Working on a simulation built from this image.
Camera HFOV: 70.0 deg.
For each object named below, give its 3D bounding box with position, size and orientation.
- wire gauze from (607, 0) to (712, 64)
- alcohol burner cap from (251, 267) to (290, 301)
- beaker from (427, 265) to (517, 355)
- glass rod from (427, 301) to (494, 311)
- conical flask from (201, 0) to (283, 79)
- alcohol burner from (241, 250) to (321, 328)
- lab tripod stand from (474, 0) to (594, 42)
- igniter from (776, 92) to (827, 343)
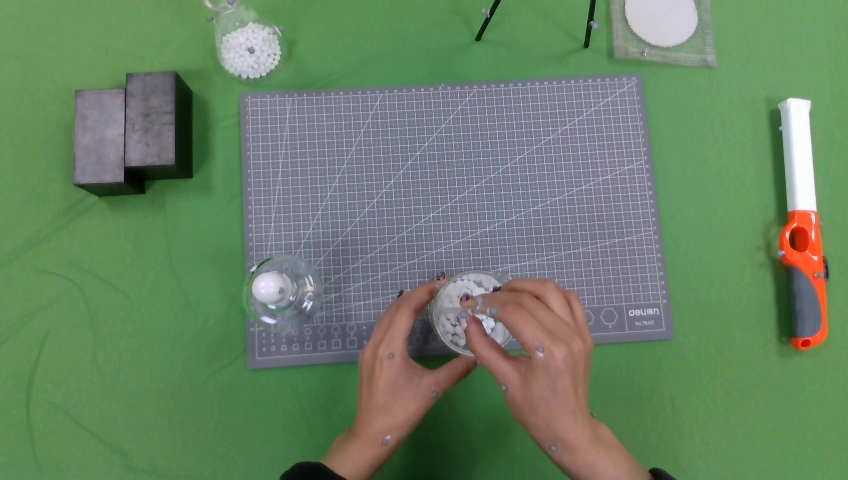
[{"bbox_3d":[0.273,-0.267,0.702,0.125,0.011,0.121,2,82,-4],"label":"wire gauze"},{"bbox_3d":[-0.140,0.039,0.548,0.034,0.048,0.034,1,85,-5],"label":"alcohol burner cap"},{"bbox_3d":[0.042,0.062,0.566,0.074,0.100,0.084,42,82,1],"label":"beaker"},{"bbox_3d":[0.025,0.054,0.505,0.008,0.199,0.008,1,84,-11],"label":"glass rod"},{"bbox_3d":[-0.192,-0.222,0.618,0.075,0.122,0.075,0,81,-2],"label":"conical flask"},{"bbox_3d":[-0.142,0.045,0.583,0.078,0.119,0.077,0,81,0],"label":"alcohol burner"},{"bbox_3d":[0.124,-0.275,0.633,0.148,0.131,0.148,0,83,-2],"label":"lab tripod stand"},{"bbox_3d":[0.410,-0.027,0.663,0.057,0.025,0.275,3,82,-13],"label":"igniter"}]
